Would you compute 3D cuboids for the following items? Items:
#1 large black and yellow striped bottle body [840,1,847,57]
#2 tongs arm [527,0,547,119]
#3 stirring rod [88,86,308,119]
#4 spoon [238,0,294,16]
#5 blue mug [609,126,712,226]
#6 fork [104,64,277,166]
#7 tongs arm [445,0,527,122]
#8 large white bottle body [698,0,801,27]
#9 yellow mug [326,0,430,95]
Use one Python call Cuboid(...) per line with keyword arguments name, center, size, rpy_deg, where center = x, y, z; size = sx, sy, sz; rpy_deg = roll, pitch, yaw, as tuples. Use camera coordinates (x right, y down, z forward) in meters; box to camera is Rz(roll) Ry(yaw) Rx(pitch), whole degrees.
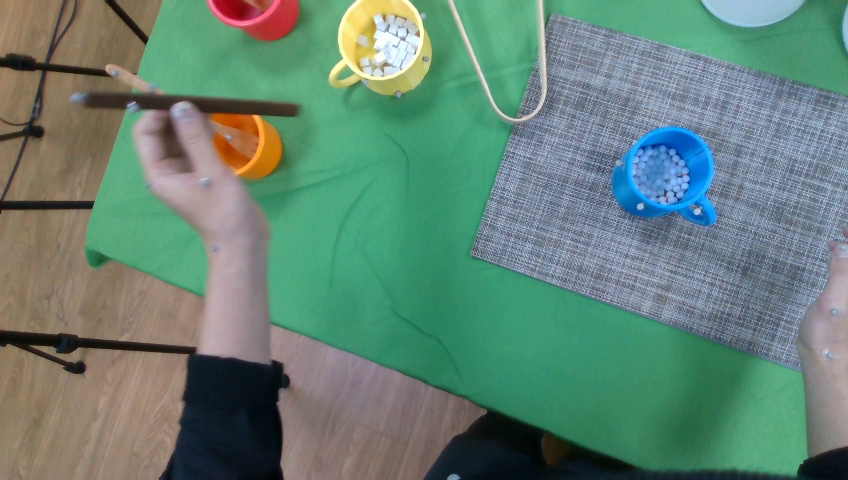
Cuboid(name="large black and yellow striped bottle body", center=(0.509, -0.235, 0.576), size=(0.130, 0.184, 0.130), rpy_deg=(0, 88, 9))
Cuboid(name="tongs arm", center=(0.115, -0.335, 0.691), size=(0.028, 0.027, 0.388), rpy_deg=(-6, 95, 0))
Cuboid(name="stirring rod", center=(-0.168, -0.107, 0.478), size=(0.005, 0.177, 0.014), rpy_deg=(49, 126, 31))
Cuboid(name="spoon", center=(-0.246, -0.291, 0.705), size=(0.195, 0.021, 0.041), rpy_deg=(-5, 86, -36))
Cuboid(name="blue mug", center=(0.258, -0.058, 0.645), size=(0.082, 0.106, 0.116), rpy_deg=(-45, 83, 5))
Cuboid(name="fork", center=(-0.264, -0.142, 0.701), size=(0.209, 0.018, 0.028), rpy_deg=(29, 92, -36))
Cuboid(name="tongs arm", center=(0.034, -0.315, 0.699), size=(0.051, 0.026, 0.385), rpy_deg=(-19, 93, 4))
Cuboid(name="large white bottle body", center=(0.355, -0.307, 0.599), size=(0.130, 0.185, 0.130), rpy_deg=(0, 88, 9))
Cuboid(name="yellow mug", center=(-0.060, -0.220, 0.717), size=(0.131, 0.064, 0.099), rpy_deg=(-33, 85, 8))
